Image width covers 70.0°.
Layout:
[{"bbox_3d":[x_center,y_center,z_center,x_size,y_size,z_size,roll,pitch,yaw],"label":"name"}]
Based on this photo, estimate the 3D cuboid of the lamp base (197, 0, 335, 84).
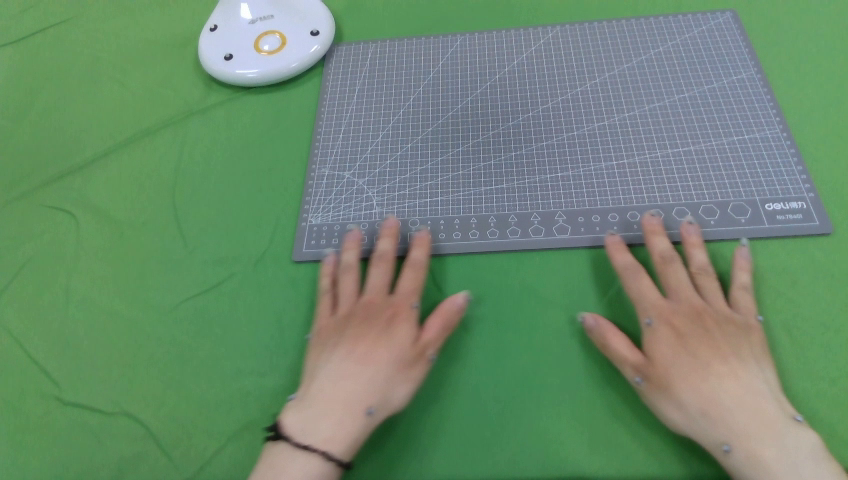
[{"bbox_3d":[-0.198,-0.290,0.645,0.161,0.182,0.177,-28,53,-11],"label":"lamp base"}]
